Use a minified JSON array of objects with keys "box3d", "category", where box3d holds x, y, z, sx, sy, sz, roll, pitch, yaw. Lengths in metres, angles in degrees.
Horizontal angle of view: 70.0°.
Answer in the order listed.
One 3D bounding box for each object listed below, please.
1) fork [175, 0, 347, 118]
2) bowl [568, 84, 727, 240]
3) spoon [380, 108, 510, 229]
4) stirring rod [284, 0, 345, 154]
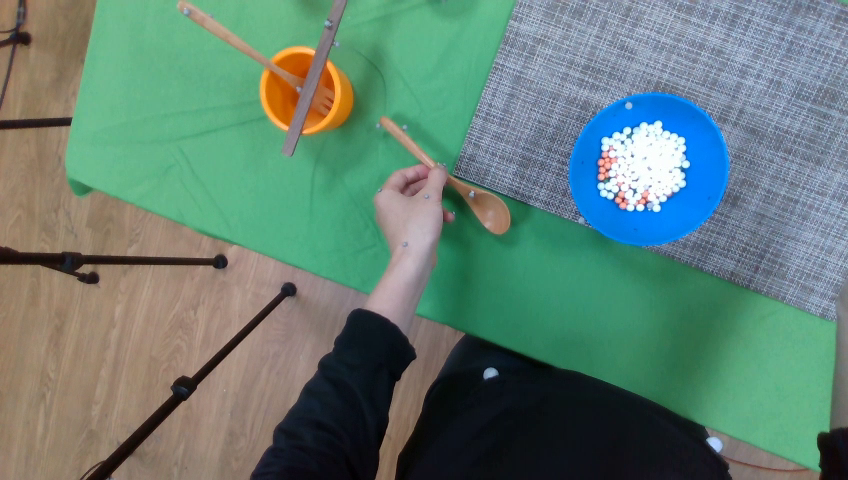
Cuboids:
[{"box3d":[-0.167,-0.192,0.647,0.209,0.018,0.028,29,110,-40],"category":"fork"},{"box3d":[0.224,-0.080,0.630,0.151,0.077,0.152,2,100,10],"category":"bowl"},{"box3d":[0.022,-0.083,0.678,0.193,0.021,0.042,41,133,1],"category":"spoon"},{"box3d":[-0.116,-0.175,0.638,0.014,0.006,0.176,23,103,7],"category":"stirring rod"}]
